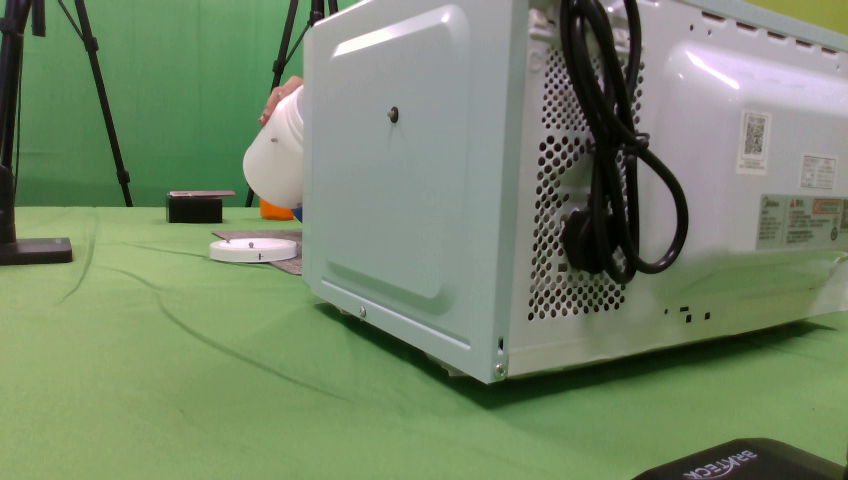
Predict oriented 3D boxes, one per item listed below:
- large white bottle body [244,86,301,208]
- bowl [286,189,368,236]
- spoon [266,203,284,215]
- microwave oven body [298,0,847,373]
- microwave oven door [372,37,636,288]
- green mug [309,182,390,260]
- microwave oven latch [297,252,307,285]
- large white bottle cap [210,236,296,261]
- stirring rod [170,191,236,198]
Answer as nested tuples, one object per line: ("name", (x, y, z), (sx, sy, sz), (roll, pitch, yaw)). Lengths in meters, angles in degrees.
("large white bottle body", (-0.185, -0.143, 0.926), (0.131, 0.130, 0.184), (-3, -23, -38))
("bowl", (-0.179, -0.051, 1.115), (0.151, 0.077, 0.151), (3, 8, 0))
("spoon", (-0.334, -0.128, 1.423), (0.041, 0.193, 0.022), (0, -37, 7))
("microwave oven body", (0.151, -0.055, 0.543), (0.444, 0.260, 0.324), (-1, 8, -33))
("microwave oven door", (0.110, -0.080, 0.687), (0.358, 0.243, 0.039), (-2, 9, -33))
("green mug", (-0.102, -0.029, 0.864), (0.126, 0.105, 0.092), (-3, 8, -40))
("microwave oven latch", (-0.082, 0.027, 0.582), (0.079, 0.029, 0.030), (-1, 8, -32))
("large white bottle cap", (-0.236, 0.011, 0.839), (0.115, 0.018, 0.115), (-1, 10, 0))
("stirring rod", (-0.466, -0.098, 1.283), (0.014, 0.006, 0.177), (42, 21, 17))
